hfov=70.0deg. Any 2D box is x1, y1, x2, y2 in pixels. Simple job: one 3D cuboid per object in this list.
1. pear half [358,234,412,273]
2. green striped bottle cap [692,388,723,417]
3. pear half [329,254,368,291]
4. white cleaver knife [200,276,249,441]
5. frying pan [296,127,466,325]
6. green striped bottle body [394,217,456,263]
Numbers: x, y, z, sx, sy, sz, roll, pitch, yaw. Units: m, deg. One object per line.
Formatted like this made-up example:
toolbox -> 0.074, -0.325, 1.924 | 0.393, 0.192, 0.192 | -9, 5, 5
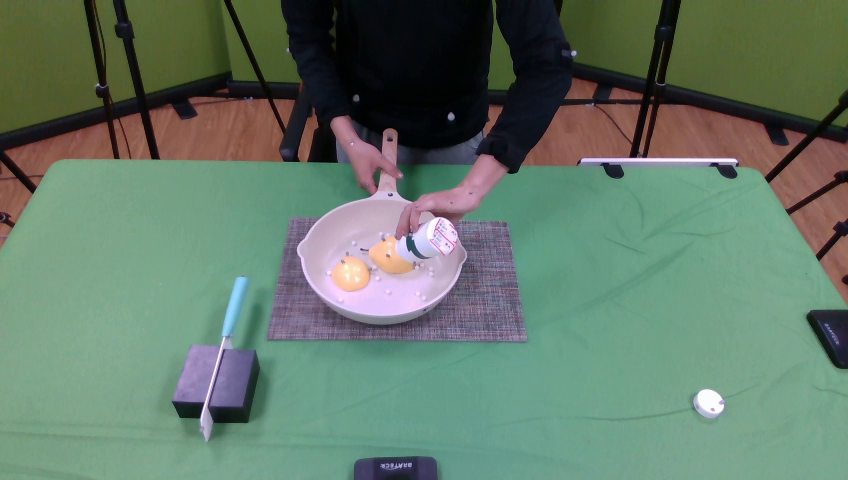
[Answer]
pear half -> -0.074, 0.017, 1.145 | 0.110, 0.056, 0.076 | 8, 41, 7
green striped bottle cap -> 0.460, 0.263, 0.984 | 0.044, 0.020, 0.044 | 3, 46, -3
pear half -> -0.140, 0.053, 1.122 | 0.070, 0.031, 0.087 | -7, 51, -17
white cleaver knife -> -0.321, 0.177, 0.972 | 0.021, 0.066, 0.284 | 7, 48, -5
frying pan -> -0.076, -0.045, 1.172 | 0.307, 0.103, 0.485 | 3, 55, -2
green striped bottle body -> -0.004, 0.003, 1.039 | 0.063, 0.119, 0.063 | 10, 73, -35
